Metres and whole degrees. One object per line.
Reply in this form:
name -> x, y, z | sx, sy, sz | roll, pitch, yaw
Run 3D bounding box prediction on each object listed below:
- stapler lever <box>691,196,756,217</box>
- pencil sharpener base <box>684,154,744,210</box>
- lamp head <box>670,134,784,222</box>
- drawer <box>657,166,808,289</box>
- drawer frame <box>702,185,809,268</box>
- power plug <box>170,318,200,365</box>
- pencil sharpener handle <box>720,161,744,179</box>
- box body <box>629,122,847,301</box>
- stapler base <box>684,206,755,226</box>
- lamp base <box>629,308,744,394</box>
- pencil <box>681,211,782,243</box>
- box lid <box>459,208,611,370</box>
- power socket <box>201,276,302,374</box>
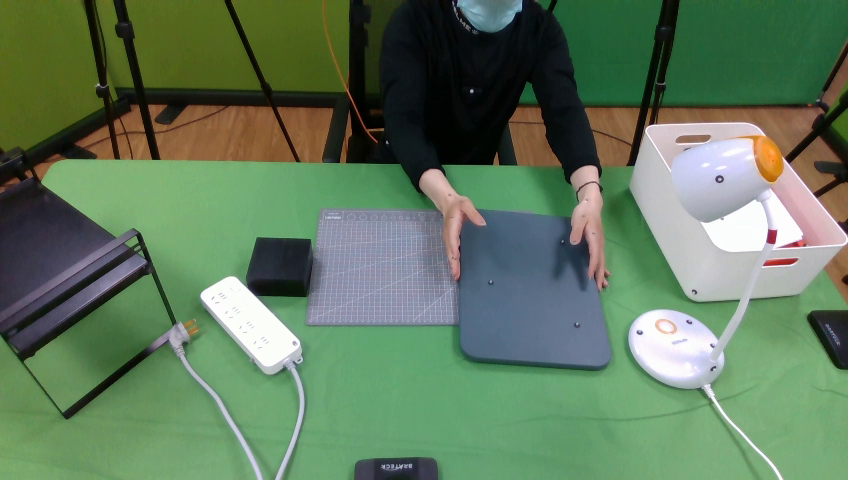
stapler lever -> 0.586, -0.066, 1.183 | 0.118, 0.040, 0.026 | 2, 59, 12
pencil sharpener base -> 0.619, -0.124, 1.293 | 0.077, 0.107, 0.061 | -8, 48, -12
lamp head -> 0.422, -0.089, 0.829 | 0.113, 0.123, 0.112 | 8, 74, -32
drawer -> 0.582, -0.025, 1.162 | 0.194, 0.073, 0.210 | -12, 55, 3
drawer frame -> 0.584, -0.023, 1.160 | 0.202, 0.083, 0.212 | -12, 56, 3
power plug -> -0.392, 0.167, 1.013 | 0.052, 0.035, 0.072 | -31, 89, -23
pencil sharpener handle -> 0.667, -0.147, 1.299 | 0.031, 0.068, 0.036 | -8, 80, -12
box body -> 0.593, -0.062, 1.202 | 0.254, 0.161, 0.361 | -3, 47, -7
stapler base -> 0.588, -0.052, 1.203 | 0.130, 0.024, 0.041 | 2, 59, 11
lamp base -> 0.445, 0.139, 0.987 | 0.161, 0.181, 0.178 | -19, 53, -20
pencil -> 0.598, -0.028, 1.185 | 0.194, 0.012, 0.012 | 18, 48, 10
box lid -> 0.196, 0.075, 1.138 | 0.263, 0.015, 0.369 | 5, 46, -2
power socket -> -0.297, 0.141, 1.034 | 0.072, 0.033, 0.225 | -34, 58, -30
